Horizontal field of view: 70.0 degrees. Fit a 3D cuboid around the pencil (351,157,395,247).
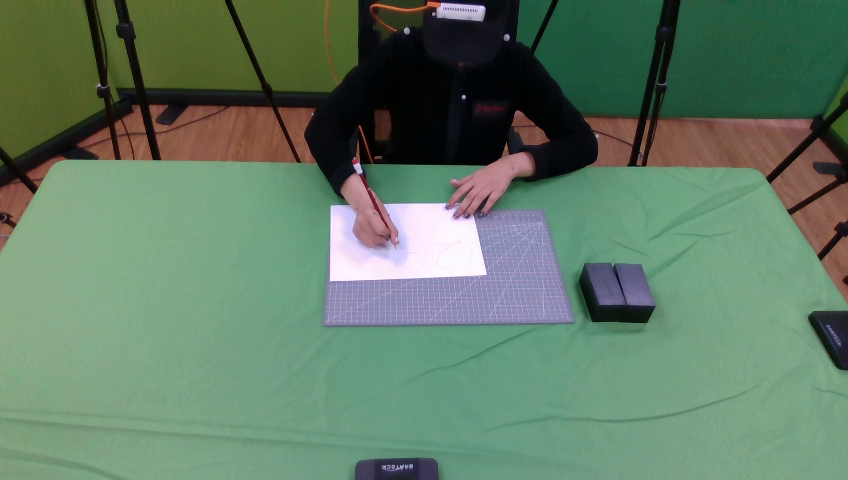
[{"bbox_3d":[-0.095,-0.069,1.157,0.012,0.194,0.012,-22,18,8],"label":"pencil"}]
